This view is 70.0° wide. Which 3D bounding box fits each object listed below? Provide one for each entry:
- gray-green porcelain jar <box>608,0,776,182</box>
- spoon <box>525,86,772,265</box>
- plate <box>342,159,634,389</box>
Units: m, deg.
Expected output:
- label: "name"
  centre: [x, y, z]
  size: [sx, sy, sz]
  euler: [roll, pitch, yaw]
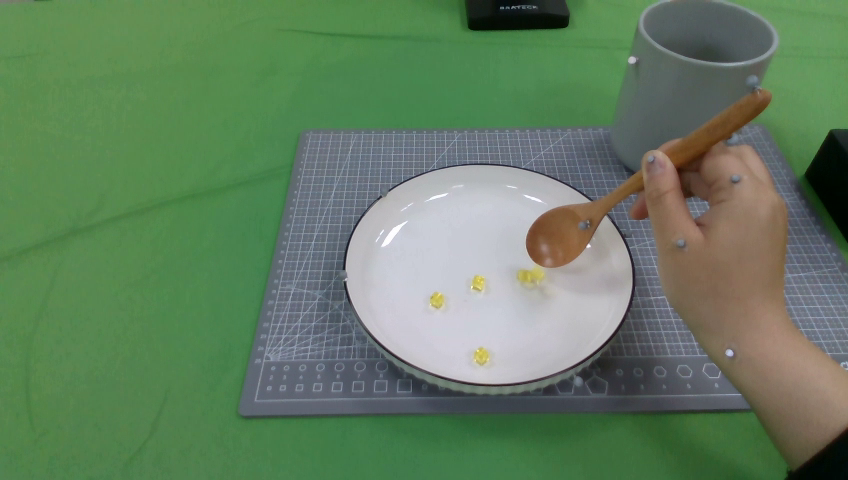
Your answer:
- label: "gray-green porcelain jar"
  centre: [0.217, -0.121, 0.513]
  size: [0.106, 0.127, 0.105]
  euler: [-1, 48, 1]
- label: "spoon"
  centre: [0.126, -0.032, 0.376]
  size: [0.022, 0.194, 0.041]
  euler: [-16, 75, -32]
- label: "plate"
  centre: [0.045, 0.021, 0.449]
  size: [0.208, 0.039, 0.205]
  euler: [0, 48, 1]
